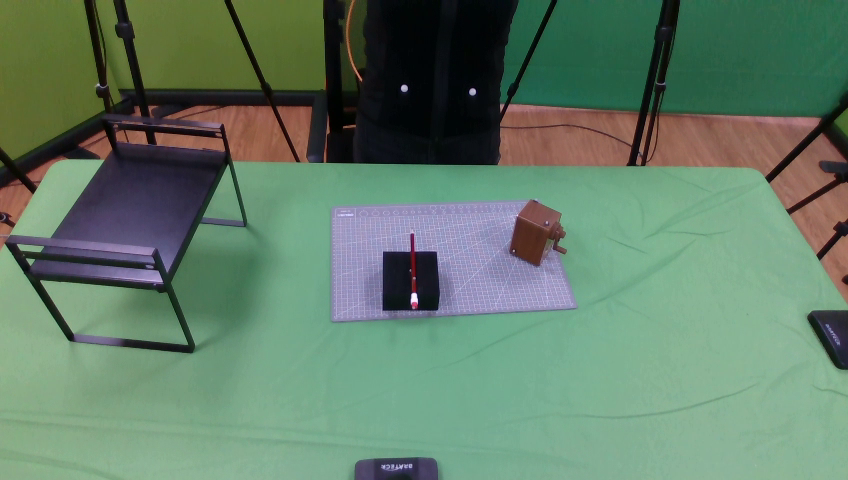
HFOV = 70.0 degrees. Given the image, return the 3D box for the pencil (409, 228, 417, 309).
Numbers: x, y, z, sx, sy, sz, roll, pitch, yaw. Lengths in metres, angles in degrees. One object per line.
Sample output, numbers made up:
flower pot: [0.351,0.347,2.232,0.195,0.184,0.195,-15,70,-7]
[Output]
pencil: [-0.021,0.046,1.087,0.012,0.012,0.193,0,46,-4]

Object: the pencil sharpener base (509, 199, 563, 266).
pencil sharpener base: [0.216,-0.012,1.160,0.076,0.107,0.061,27,50,20]

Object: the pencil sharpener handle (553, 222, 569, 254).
pencil sharpener handle: [0.260,-0.001,1.135,0.030,0.068,0.036,27,58,20]
